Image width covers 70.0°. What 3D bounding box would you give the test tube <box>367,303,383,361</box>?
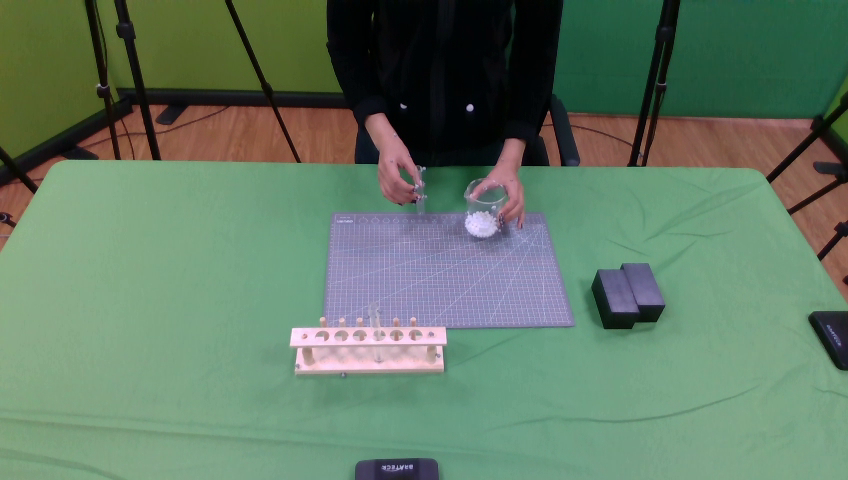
[{"bbox_3d":[-0.075,0.146,0.941,0.017,0.151,0.017,0,49,0],"label":"test tube"}]

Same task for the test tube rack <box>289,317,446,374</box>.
[{"bbox_3d":[-0.089,0.167,0.987,0.242,0.085,0.066,0,46,-4],"label":"test tube rack"}]

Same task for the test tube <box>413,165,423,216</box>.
[{"bbox_3d":[-0.010,-0.092,1.165,0.017,0.151,0.017,-1,58,1],"label":"test tube"}]

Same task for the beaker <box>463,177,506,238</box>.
[{"bbox_3d":[0.113,-0.060,1.182,0.084,0.101,0.073,-8,46,-12],"label":"beaker"}]
